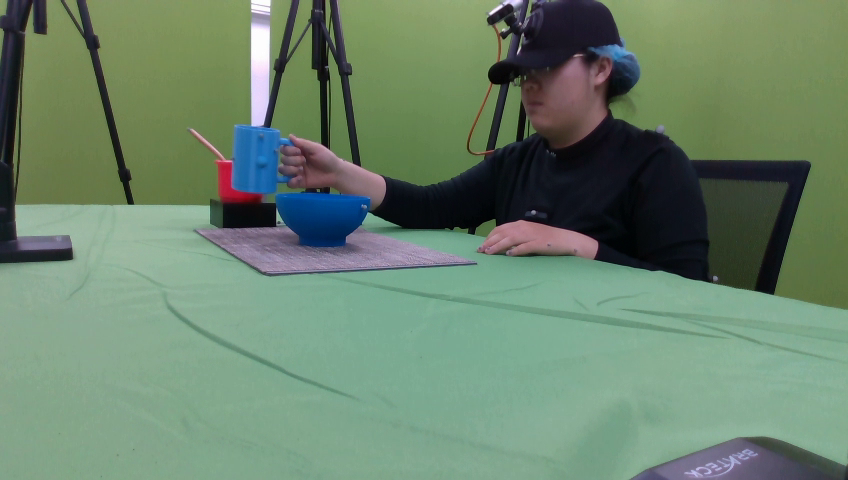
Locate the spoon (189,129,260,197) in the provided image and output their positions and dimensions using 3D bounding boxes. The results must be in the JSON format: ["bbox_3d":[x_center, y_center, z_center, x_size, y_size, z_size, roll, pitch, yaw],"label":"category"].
[{"bbox_3d":[-0.388,-0.150,1.174,0.193,0.021,0.042,49,19,7],"label":"spoon"}]

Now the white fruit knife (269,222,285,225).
[{"bbox_3d":[-0.222,-0.038,1.261,0.208,0.016,0.027,-4,-17,-31],"label":"white fruit knife"}]

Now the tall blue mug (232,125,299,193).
[{"bbox_3d":[-0.284,-0.143,1.068,0.077,0.108,0.107,14,15,28],"label":"tall blue mug"}]

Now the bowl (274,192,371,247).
[{"bbox_3d":[-0.161,-0.032,0.958,0.151,0.077,0.151,3,7,0],"label":"bowl"}]
